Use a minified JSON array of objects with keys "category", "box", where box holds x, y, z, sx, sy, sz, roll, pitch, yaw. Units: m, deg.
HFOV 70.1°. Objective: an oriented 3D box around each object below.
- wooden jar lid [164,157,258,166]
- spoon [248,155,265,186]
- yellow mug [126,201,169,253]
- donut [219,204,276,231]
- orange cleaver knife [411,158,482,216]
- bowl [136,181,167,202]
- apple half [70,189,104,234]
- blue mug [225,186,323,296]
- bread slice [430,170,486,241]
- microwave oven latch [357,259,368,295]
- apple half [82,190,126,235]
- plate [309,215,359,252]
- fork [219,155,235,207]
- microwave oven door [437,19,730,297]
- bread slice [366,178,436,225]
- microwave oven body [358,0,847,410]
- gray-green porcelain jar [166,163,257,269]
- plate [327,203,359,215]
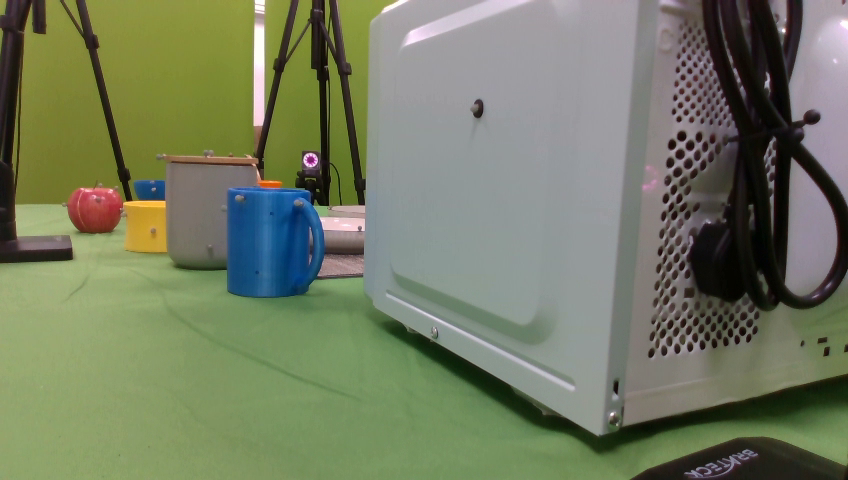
[{"category":"wooden jar lid","box":[-0.261,-0.093,0.746,0.108,0.020,0.108,0,9,0]},{"category":"spoon","box":[-0.417,-0.150,1.543,0.042,0.193,0.021,-4,-35,-34]},{"category":"yellow mug","box":[-0.361,-0.019,0.866,0.130,0.064,0.100,6,9,27]},{"category":"donut","box":[-0.316,-0.039,1.083,0.099,0.048,0.099,2,7,0]},{"category":"orange cleaver knife","box":[0.046,-0.087,1.135,0.012,0.077,0.212,-2,-17,38]},{"category":"bowl","box":[-0.497,-0.076,1.221,0.151,0.077,0.151,2,8,0]},{"category":"apple half","box":[-0.552,-0.048,1.010,0.053,0.074,0.081,-1,9,26]},{"category":"blue mug","box":[-0.148,0.000,0.618,0.116,0.106,0.083,7,9,33]},{"category":"bread slice","box":[0.064,-0.058,1.049,0.019,0.131,0.105,29,22,33]},{"category":"microwave oven latch","box":[-0.019,0.031,0.529,0.079,0.029,0.030,-1,7,-26]},{"category":"apple half","box":[-0.516,-0.046,0.994,0.032,0.081,0.081,0,6,26]},{"category":"plate","box":[-0.130,-0.011,0.945,0.208,0.039,0.207,2,7,0]},{"category":"fork","box":[-0.459,-0.134,1.415,0.028,0.018,0.207,-1,-34,-24]},{"category":"microwave oven door","box":[0.181,-0.076,0.618,0.358,0.243,0.039,-2,8,-28]},{"category":"bread slice","box":[-0.050,-0.073,1.139,0.107,0.018,0.134,-10,-26,-41]},{"category":"microwave oven body","box":[0.210,-0.051,0.471,0.444,0.260,0.324,-1,7,-28]},{"category":"gray-green porcelain jar","box":[-0.263,-0.031,0.754,0.106,0.126,0.106,2,7,0]},{"category":"plate","box":[-0.102,-0.053,1.299,0.209,0.038,0.209,2,8,0]}]
